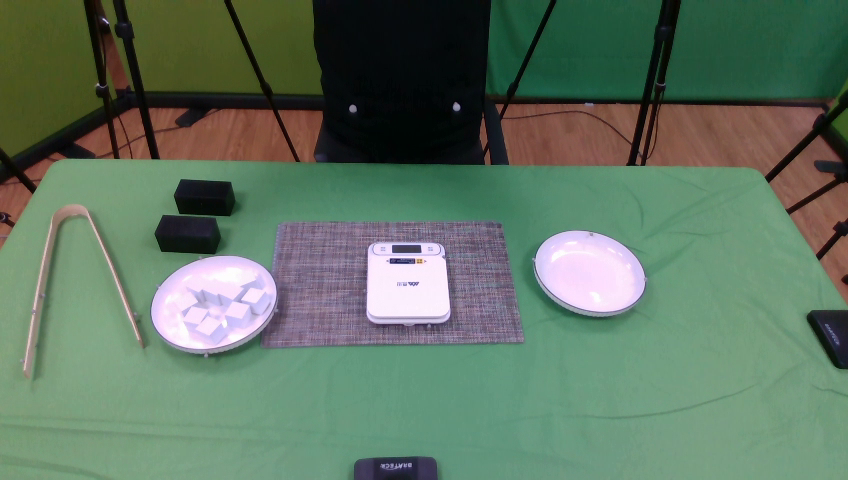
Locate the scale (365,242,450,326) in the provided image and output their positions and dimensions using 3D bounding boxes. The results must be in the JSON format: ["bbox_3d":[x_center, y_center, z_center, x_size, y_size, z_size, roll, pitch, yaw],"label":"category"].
[{"bbox_3d":[-0.032,0.071,1.113,0.149,0.032,0.199,1,46,-4],"label":"scale"}]

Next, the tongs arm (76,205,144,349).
[{"bbox_3d":[-0.570,0.054,1.098,0.028,0.028,0.385,-25,53,-23],"label":"tongs arm"}]

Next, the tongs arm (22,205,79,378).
[{"bbox_3d":[-0.652,0.073,1.067,0.051,0.026,0.382,-10,46,-15],"label":"tongs arm"}]

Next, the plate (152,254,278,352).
[{"bbox_3d":[-0.357,0.111,1.052,0.208,0.039,0.206,2,46,-2],"label":"plate"}]

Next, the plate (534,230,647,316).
[{"bbox_3d":[0.311,0.065,1.145,0.209,0.038,0.208,2,45,-2],"label":"plate"}]
